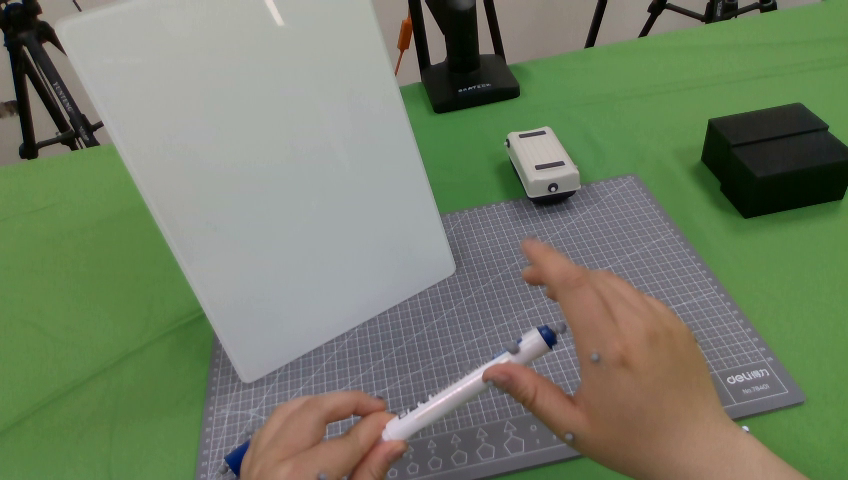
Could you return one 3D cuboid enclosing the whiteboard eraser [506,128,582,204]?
[{"bbox_3d":[0.128,-0.081,0.660,0.055,0.042,0.111,-12,37,0],"label":"whiteboard eraser"}]

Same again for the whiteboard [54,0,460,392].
[{"bbox_3d":[-0.130,-0.068,0.538,0.217,0.308,0.142,-27,25,-18],"label":"whiteboard"}]

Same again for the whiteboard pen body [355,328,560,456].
[{"bbox_3d":[0.017,0.093,0.358,0.141,0.017,0.017,-32,41,7],"label":"whiteboard pen body"}]

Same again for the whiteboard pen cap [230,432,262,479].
[{"bbox_3d":[-0.132,0.161,0.449,0.018,0.018,0.033,0,59,11],"label":"whiteboard pen cap"}]
